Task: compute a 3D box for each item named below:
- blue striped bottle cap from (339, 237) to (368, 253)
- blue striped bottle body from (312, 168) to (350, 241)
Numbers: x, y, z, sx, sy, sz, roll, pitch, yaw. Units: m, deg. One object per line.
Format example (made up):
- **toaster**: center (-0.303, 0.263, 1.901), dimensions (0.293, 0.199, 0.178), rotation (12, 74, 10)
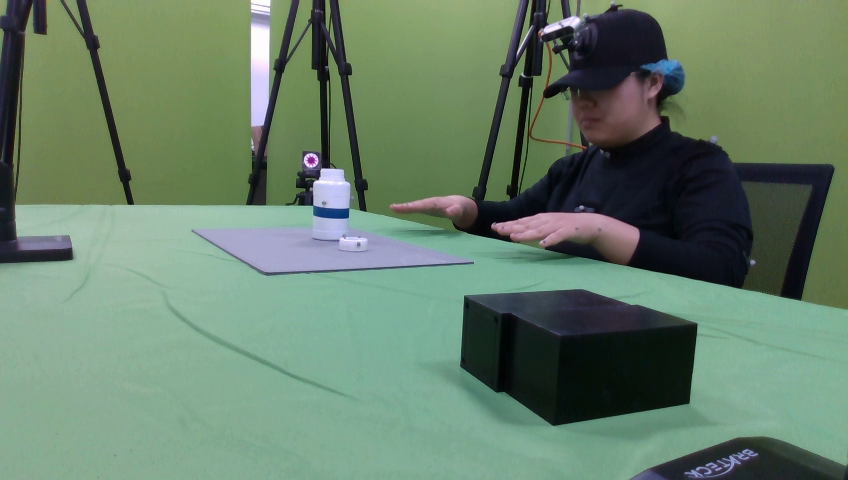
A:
- **blue striped bottle cap**: center (-0.107, 0.007, 0.920), dimensions (0.044, 0.020, 0.044), rotation (1, 7, 0)
- **blue striped bottle body**: center (-0.157, -0.062, 1.025), dimensions (0.063, 0.120, 0.063), rotation (3, 7, 0)
